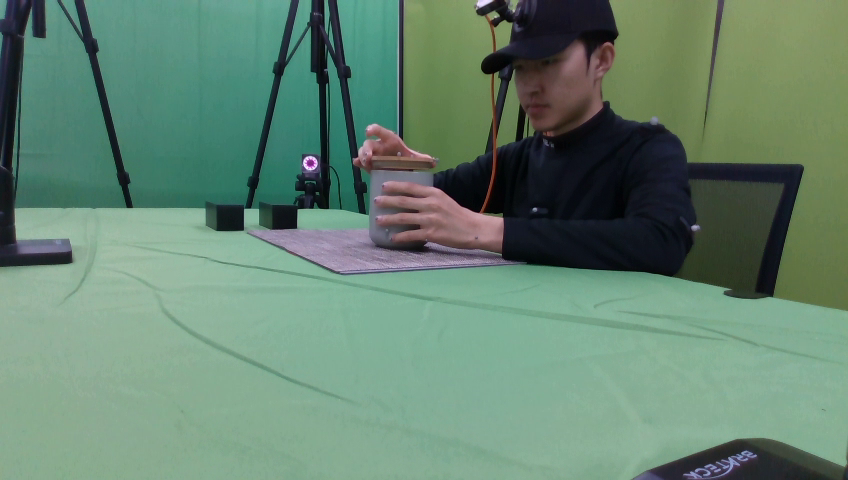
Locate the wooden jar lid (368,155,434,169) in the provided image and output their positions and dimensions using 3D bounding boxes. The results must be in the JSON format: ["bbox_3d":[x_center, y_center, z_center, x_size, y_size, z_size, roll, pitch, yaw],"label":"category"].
[{"bbox_3d":[-0.038,-0.127,0.989,0.108,0.020,0.108,2,5,0],"label":"wooden jar lid"}]

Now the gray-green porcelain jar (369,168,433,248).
[{"bbox_3d":[-0.038,-0.054,1.002,0.106,0.126,0.106,2,7,0],"label":"gray-green porcelain jar"}]
